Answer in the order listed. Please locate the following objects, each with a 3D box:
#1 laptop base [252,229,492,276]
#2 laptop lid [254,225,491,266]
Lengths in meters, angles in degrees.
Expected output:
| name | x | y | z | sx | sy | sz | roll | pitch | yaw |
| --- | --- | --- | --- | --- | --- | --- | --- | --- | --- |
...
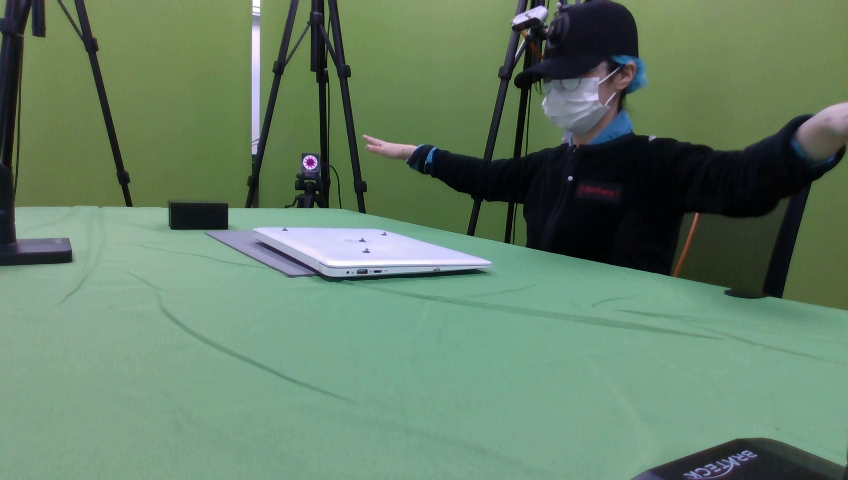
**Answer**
| name | x | y | z | sx | sy | sz | roll | pitch | yaw |
| --- | --- | --- | --- | --- | --- | --- | --- | --- | --- |
| laptop base | -0.095 | 0.016 | 0.889 | 0.237 | 0.023 | 0.352 | 2 | 7 | -31 |
| laptop lid | -0.092 | 0.003 | 0.888 | 0.243 | 0.013 | 0.355 | 1 | 8 | -29 |
